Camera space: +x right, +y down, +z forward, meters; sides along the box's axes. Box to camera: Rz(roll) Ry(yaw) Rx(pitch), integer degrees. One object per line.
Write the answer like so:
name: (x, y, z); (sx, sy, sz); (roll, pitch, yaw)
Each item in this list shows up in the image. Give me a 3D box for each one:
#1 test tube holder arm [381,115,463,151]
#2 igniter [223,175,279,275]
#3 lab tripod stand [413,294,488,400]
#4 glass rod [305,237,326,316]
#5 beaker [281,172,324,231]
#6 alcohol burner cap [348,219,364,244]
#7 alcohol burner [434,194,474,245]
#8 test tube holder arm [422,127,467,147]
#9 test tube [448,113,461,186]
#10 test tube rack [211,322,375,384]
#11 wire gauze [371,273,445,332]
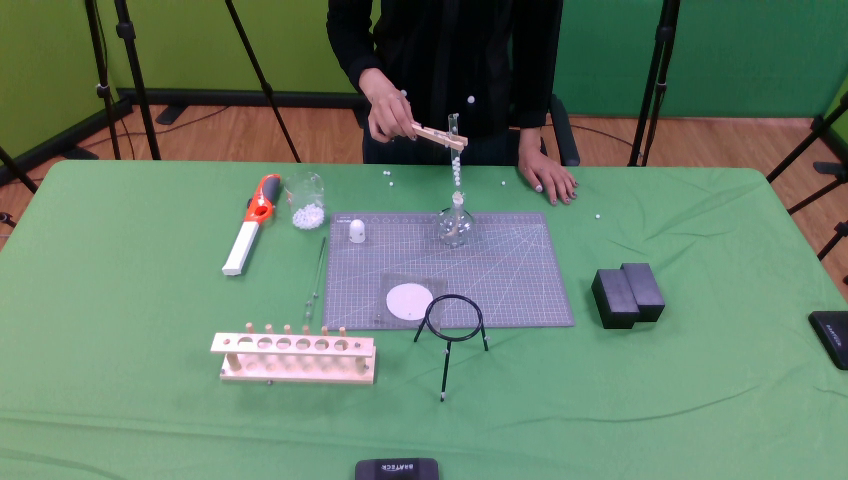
test tube holder arm: (-0.006, -0.194, 1.087); (0.177, 0.015, 0.013); (23, 46, 26)
igniter: (-0.341, -0.039, 1.206); (0.057, 0.025, 0.275); (-1, 45, 8)
lab tripod stand: (0.044, 0.159, 0.972); (0.148, 0.132, 0.147); (2, 44, -2)
glass rod: (-0.202, 0.064, 1.131); (0.008, 0.008, 0.198); (4, 43, 0)
beaker: (-0.234, -0.073, 1.199); (0.084, 0.101, 0.074); (24, 50, 17)
alcohol burner cap: (-0.134, -0.019, 1.190); (0.034, 0.048, 0.033); (2, 46, -2)
alcohol burner: (0.061, -0.046, 1.183); (0.078, 0.119, 0.077); (3, 47, -3)
test tube holder arm: (0.035, -0.183, 1.072); (0.087, 0.015, 0.010); (18, 44, 20)
test tube: (0.054, -0.157, 1.075); (0.017, 0.151, 0.017); (-4, 43, 4)
test tube rack: (-0.202, 0.176, 0.969); (0.242, 0.085, 0.066); (3, 46, -2)
wire gauze: (-0.028, 0.108, 1.100); (0.125, 0.011, 0.121); (8, 45, 4)
